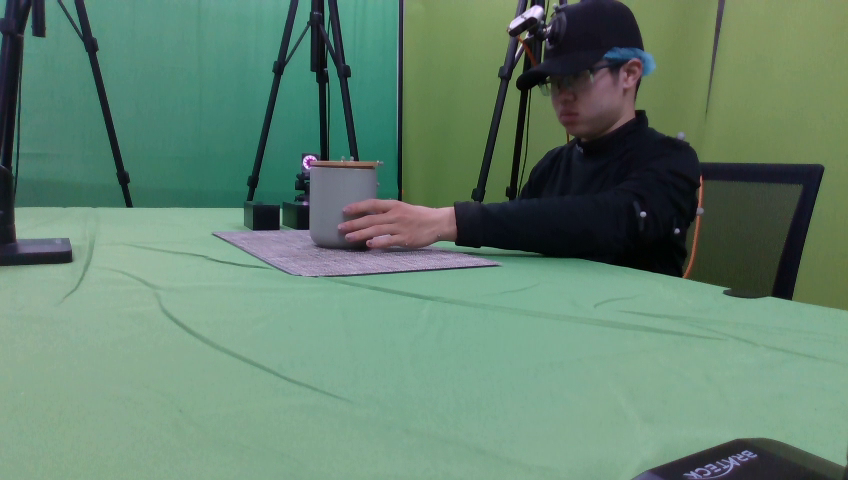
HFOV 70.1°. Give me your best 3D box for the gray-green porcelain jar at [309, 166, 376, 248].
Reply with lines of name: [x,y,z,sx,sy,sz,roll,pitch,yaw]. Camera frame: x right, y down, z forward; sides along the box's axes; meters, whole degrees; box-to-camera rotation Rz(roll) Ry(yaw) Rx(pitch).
gray-green porcelain jar: [-0.130,-0.054,0.966,0.106,0.126,0.106,2,7,0]

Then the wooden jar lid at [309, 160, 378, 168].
wooden jar lid: [-0.127,-0.117,0.957,0.108,0.020,0.108,1,7,0]
